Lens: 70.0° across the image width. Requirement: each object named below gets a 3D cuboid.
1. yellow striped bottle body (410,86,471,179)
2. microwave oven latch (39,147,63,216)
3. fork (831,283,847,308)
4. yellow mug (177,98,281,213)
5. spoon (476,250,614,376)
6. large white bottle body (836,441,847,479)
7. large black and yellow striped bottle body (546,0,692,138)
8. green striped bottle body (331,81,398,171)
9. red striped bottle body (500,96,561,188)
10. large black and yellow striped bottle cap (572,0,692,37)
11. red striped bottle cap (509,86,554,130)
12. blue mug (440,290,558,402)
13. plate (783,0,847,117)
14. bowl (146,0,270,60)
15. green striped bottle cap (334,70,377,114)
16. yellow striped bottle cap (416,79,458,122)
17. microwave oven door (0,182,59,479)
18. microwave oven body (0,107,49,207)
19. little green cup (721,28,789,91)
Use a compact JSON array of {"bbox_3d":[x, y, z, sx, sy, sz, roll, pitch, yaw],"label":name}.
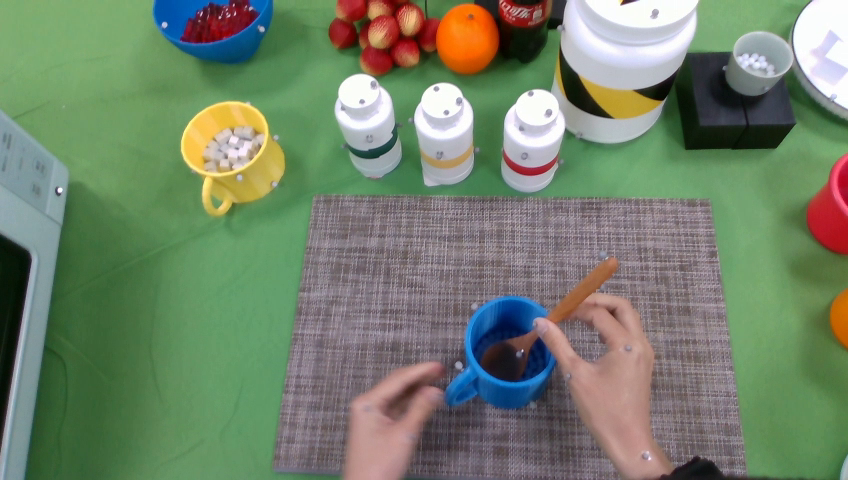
[{"bbox_3d":[0.019,-0.122,0.666,0.063,0.121,0.062,-2,66,5],"label":"yellow striped bottle body"},{"bbox_3d":[-0.441,-0.066,0.702,0.030,0.030,0.078,-6,67,2],"label":"microwave oven latch"},{"bbox_3d":[0.460,0.080,0.528,0.028,0.019,0.205,-36,25,-10],"label":"fork"},{"bbox_3d":[-0.229,-0.092,0.702,0.100,0.064,0.130,10,69,9],"label":"yellow mug"},{"bbox_3d":[0.102,0.070,0.530,0.041,0.194,0.021,48,46,12],"label":"spoon"},{"bbox_3d":[0.429,0.194,0.463,0.130,0.186,0.129,-2,66,4],"label":"large white bottle body"},{"bbox_3d":[0.206,-0.211,0.654,0.131,0.185,0.130,-2,67,4],"label":"large black and yellow striped bottle body"},{"bbox_3d":[-0.066,-0.133,0.677,0.063,0.120,0.062,-1,66,4],"label":"green striped bottle body"},{"bbox_3d":[0.113,-0.111,0.654,0.063,0.120,0.062,-3,65,6],"label":"red striped bottle body"},{"bbox_3d":[0.199,-0.243,0.577,0.115,0.019,0.114,-2,65,4],"label":"large black and yellow striped bottle cap"},{"bbox_3d":[0.108,-0.133,0.606,0.044,0.018,0.044,0,65,1],"label":"red striped bottle cap"},{"bbox_3d":[0.064,0.111,0.567,0.116,0.106,0.081,-33,68,-10],"label":"blue mug"},{"bbox_3d":[0.527,-0.219,0.712,0.209,0.038,0.207,-1,67,4],"label":"plate"},{"bbox_3d":[-0.264,-0.288,0.782,0.151,0.077,0.150,-1,67,4],"label":"bowl"},{"bbox_3d":[-0.071,-0.154,0.630,0.044,0.020,0.044,-2,65,4],"label":"green striped bottle cap"},{"bbox_3d":[0.013,-0.143,0.618,0.044,0.019,0.044,1,63,-1],"label":"yellow striped bottle cap"},{"bbox_3d":[-0.427,0.092,0.523,0.039,0.245,0.353,-8,66,2],"label":"microwave oven door"},{"bbox_3d":[-0.576,0.075,0.547,0.326,0.262,0.438,-8,67,1],"label":"microwave oven body"},{"bbox_3d":[0.357,-0.194,0.659,0.061,0.039,0.061,-1,65,2],"label":"little green cup"}]
